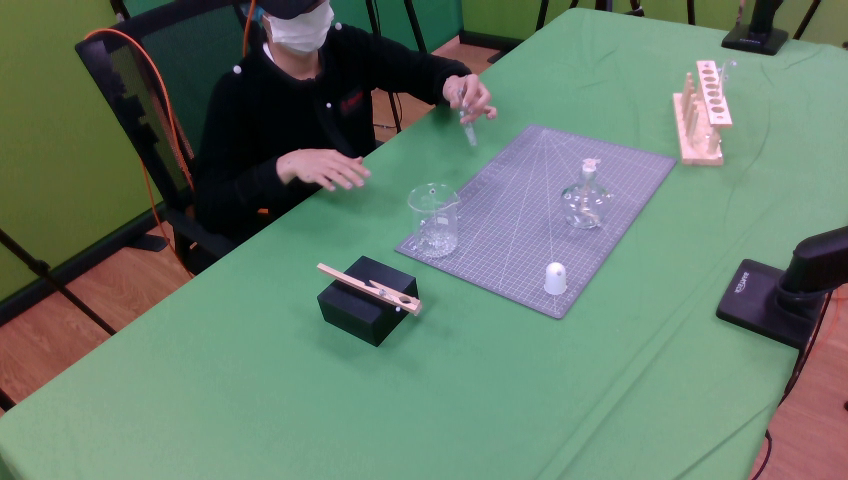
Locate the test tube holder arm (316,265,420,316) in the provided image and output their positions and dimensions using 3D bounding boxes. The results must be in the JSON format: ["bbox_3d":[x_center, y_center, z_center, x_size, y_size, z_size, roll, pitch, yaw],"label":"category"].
[{"bbox_3d":[-0.081,0.068,0.835,0.177,0.015,0.013,18,55,28],"label":"test tube holder arm"}]

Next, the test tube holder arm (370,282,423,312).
[{"bbox_3d":[-0.040,0.076,0.817,0.087,0.015,0.010,18,56,28],"label":"test tube holder arm"}]

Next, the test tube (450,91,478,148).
[{"bbox_3d":[0.072,-0.206,1.051,0.017,0.151,0.017,-8,62,15],"label":"test tube"}]

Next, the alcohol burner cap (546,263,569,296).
[{"bbox_3d":[0.191,0.053,0.862,0.034,0.048,0.033,-5,40,4],"label":"alcohol burner cap"}]

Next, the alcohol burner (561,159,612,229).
[{"bbox_3d":[0.257,-0.077,0.951,0.078,0.119,0.077,-3,40,3],"label":"alcohol burner"}]

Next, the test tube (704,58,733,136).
[{"bbox_3d":[0.516,-0.247,1.062,0.017,0.151,0.017,-3,43,4],"label":"test tube"}]

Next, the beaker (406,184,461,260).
[{"bbox_3d":[0.019,-0.026,0.939,0.084,0.101,0.074,1,41,9],"label":"beaker"}]

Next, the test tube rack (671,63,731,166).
[{"bbox_3d":[0.513,-0.240,1.132,0.066,0.085,0.242,4,41,14],"label":"test tube rack"}]
